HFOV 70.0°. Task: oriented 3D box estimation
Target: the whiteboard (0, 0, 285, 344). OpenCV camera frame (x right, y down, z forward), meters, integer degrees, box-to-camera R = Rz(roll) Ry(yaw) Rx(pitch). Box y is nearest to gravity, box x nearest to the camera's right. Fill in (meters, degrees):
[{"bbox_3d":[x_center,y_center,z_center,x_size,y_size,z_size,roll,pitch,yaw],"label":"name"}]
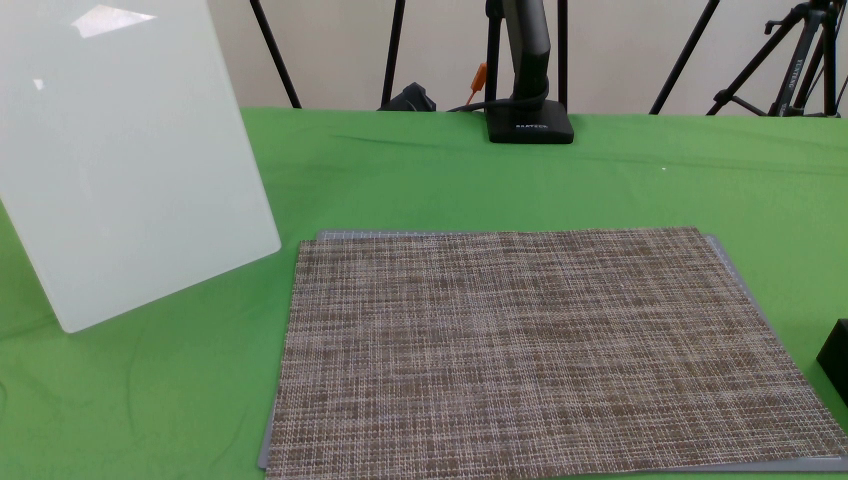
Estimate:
[{"bbox_3d":[-0.303,-0.097,0.599,0.217,0.307,0.142,-24,24,-29],"label":"whiteboard"}]
